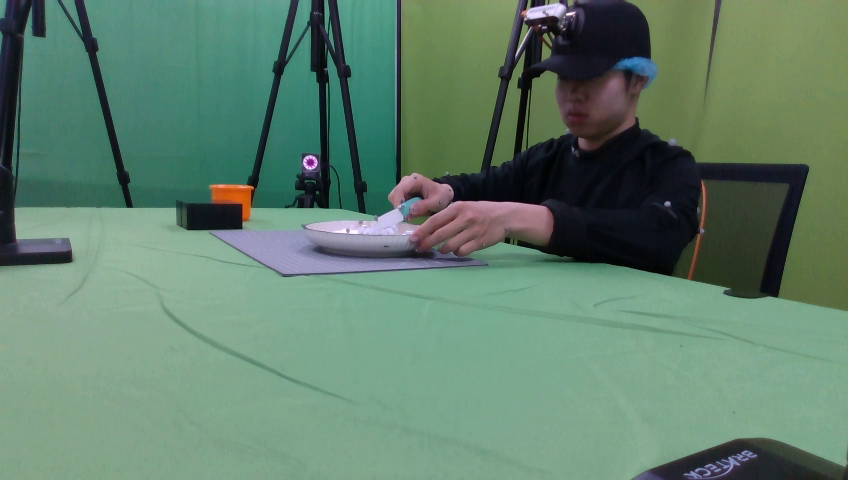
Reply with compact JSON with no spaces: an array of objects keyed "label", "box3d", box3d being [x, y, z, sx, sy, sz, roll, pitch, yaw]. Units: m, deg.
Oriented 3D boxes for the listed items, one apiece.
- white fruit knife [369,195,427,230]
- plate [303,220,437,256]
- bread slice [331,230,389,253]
[{"label":"white fruit knife","box3d":[-0.039,-0.046,0.975,0.016,0.027,0.208,-10,10,25]},{"label":"plate","box3d":[-0.084,-0.003,0.951,0.209,0.038,0.209,3,7,0]},{"label":"bread slice","box3d":[-0.088,0.000,0.947,0.105,0.019,0.131,-5,11,-44]}]
